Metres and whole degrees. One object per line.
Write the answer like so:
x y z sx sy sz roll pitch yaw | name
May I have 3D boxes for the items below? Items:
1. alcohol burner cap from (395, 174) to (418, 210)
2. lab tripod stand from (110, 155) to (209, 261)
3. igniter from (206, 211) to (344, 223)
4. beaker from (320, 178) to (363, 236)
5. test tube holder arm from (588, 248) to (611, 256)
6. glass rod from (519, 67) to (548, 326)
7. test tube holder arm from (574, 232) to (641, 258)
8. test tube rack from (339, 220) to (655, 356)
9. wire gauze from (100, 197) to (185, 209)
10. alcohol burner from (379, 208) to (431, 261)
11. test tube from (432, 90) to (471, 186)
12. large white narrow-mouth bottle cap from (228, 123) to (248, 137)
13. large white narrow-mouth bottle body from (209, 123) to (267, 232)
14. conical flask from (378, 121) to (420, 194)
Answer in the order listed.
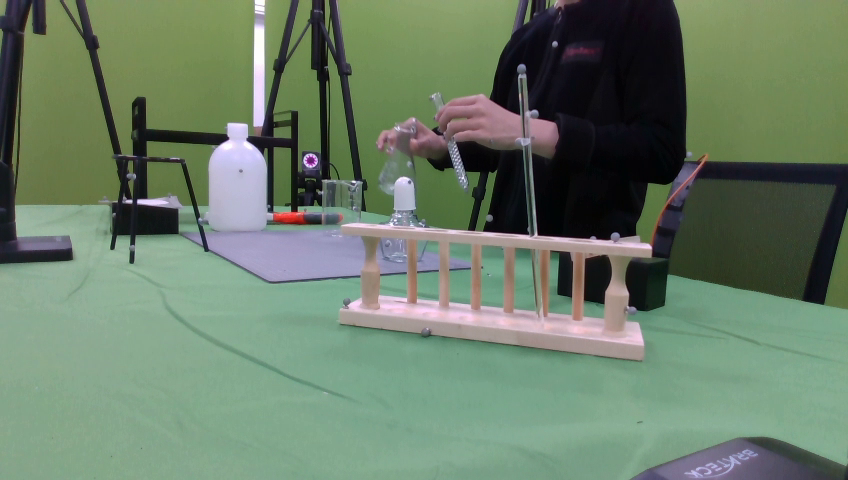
-0.026 -0.067 0.834 0.034 0.048 0.034 -1 12 1 | alcohol burner cap
-0.361 -0.046 0.806 0.148 0.131 0.148 2 5 0 | lab tripod stand
-0.302 -0.048 1.249 0.278 0.025 0.057 -2 -2 -26 | igniter
-0.145 -0.059 1.079 0.074 0.100 0.083 -4 10 -36 | beaker
0.180 0.006 0.611 0.010 0.015 0.088 -3 2 36 | test tube holder arm
0.084 -0.029 0.459 0.008 0.199 0.008 -7 11 2 | glass rod
0.202 0.003 0.651 0.013 0.015 0.179 -3 2 36 | test tube holder arm
0.056 0.032 0.495 0.242 0.085 0.067 4 7 15 | test tube rack
-0.469 -0.062 1.008 0.126 0.011 0.121 -2 8 -25 | wire gauze
-0.027 -0.031 0.838 0.078 0.119 0.078 0 6 0 | alcohol burner
0.041 -0.152 0.900 0.017 0.150 0.017 -18 -5 -1 | test tube
-0.338 -0.199 1.097 0.038 0.024 0.037 2 8 0 | large white narrow-mouth bottle cap
-0.340 -0.115 1.109 0.102 0.194 0.102 2 8 0 | large white narrow-mouth bottle body
-0.038 -0.146 1.065 0.075 0.122 0.075 7 20 -2 | conical flask
